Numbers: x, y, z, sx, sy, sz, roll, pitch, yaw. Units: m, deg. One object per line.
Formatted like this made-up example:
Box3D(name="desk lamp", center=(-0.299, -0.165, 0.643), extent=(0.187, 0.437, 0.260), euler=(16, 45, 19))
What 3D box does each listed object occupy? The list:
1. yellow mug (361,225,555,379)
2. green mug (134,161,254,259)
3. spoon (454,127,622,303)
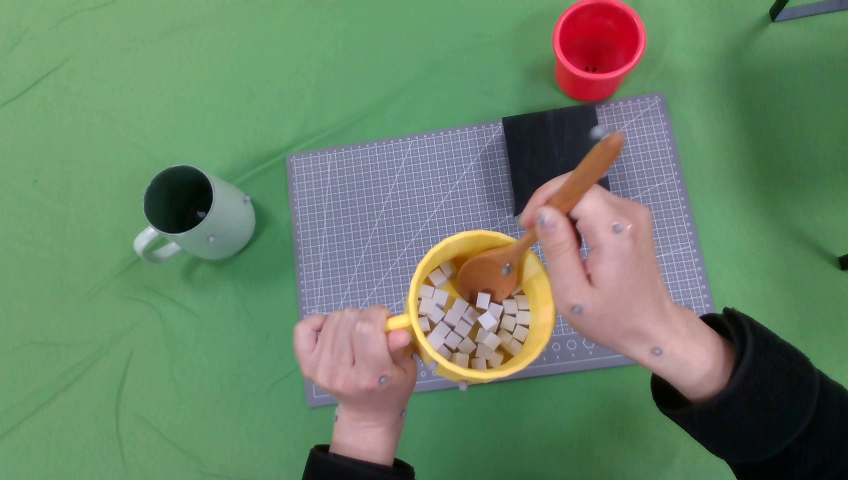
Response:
Box3D(name="yellow mug", center=(0.021, 0.050, 0.425), extent=(0.131, 0.064, 0.099), euler=(-14, 77, -7))
Box3D(name="green mug", center=(-0.261, -0.024, 0.674), extent=(0.125, 0.105, 0.092), euler=(-40, 78, -3))
Box3D(name="spoon", center=(0.065, -0.006, 0.376), extent=(0.042, 0.194, 0.021), euler=(30, 58, -4))
